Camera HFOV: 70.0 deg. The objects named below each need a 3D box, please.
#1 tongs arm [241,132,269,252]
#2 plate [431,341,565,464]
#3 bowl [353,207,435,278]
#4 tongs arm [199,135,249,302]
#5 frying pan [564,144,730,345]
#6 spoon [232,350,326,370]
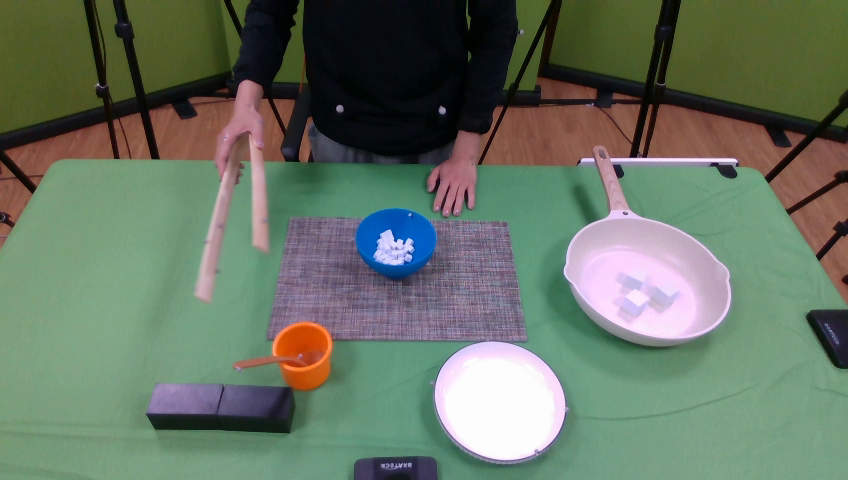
[{"bbox_3d":[-0.281,-0.095,1.008,0.028,0.028,0.385,31,20,-34],"label":"tongs arm"},{"bbox_3d":[0.114,0.255,0.952,0.208,0.039,0.206,3,46,-2],"label":"plate"},{"bbox_3d":[-0.056,0.018,1.132,0.151,0.077,0.150,2,46,-2],"label":"bowl"},{"bbox_3d":[-0.334,-0.053,1.032,0.027,0.051,0.382,35,28,-34],"label":"tongs arm"},{"bbox_3d":[0.396,-0.008,1.179,0.307,0.103,0.484,0,55,-5],"label":"frying pan"},{"bbox_3d":[-0.216,0.182,0.919,0.041,0.194,0.021,43,102,27],"label":"spoon"}]
